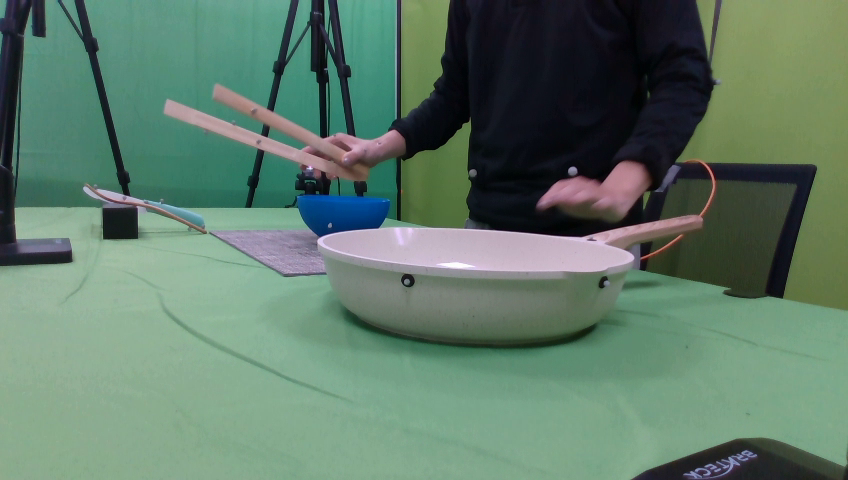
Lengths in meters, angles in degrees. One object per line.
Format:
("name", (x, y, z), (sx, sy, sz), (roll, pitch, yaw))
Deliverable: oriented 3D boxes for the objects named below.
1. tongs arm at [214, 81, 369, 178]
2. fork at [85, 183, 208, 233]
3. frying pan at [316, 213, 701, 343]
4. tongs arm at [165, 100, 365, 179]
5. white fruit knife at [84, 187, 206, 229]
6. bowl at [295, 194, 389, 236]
("tongs arm", (-0.202, -0.176, 1.028), (0.028, 0.027, 0.389), (-9, -17, 29))
("fork", (-0.462, -0.051, 1.020), (0.208, 0.018, 0.028), (22, -8, -37))
("frying pan", (0.133, 0.013, 0.629), (0.490, 0.102, 0.305), (-12, 14, -30))
("tongs arm", (-0.260, -0.171, 1.072), (0.050, 0.026, 0.387), (-9, -17, 40))
("white fruit knife", (-0.488, -0.059, 1.071), (0.208, 0.027, 0.016), (17, 4, -33))
("bowl", (-0.132, -0.032, 0.980), (0.151, 0.077, 0.151), (2, 7, 0))
